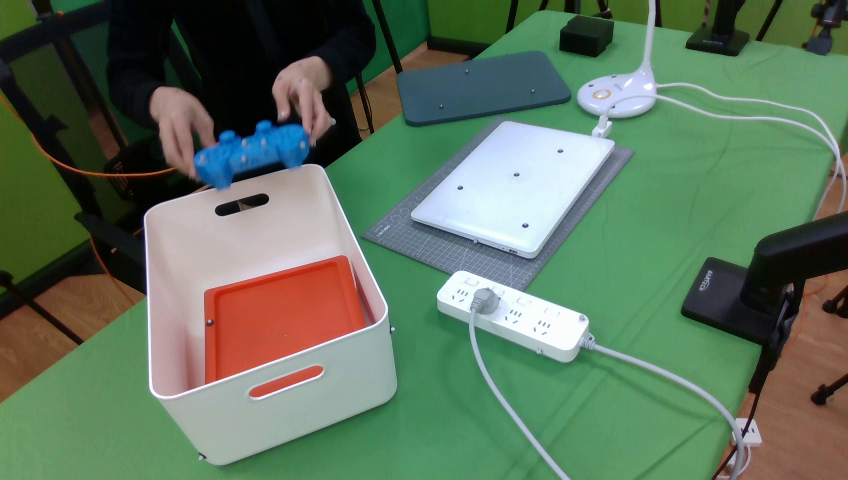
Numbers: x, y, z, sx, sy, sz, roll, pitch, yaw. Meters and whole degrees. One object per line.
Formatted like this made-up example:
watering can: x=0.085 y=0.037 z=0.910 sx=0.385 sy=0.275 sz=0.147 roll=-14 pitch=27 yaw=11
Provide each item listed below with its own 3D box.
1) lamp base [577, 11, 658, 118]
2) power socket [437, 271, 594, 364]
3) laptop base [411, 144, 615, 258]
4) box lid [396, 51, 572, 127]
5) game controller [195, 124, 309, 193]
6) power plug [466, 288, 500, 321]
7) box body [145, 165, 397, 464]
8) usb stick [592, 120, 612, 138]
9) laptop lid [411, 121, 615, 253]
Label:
lamp base: x=0.406 y=-0.363 z=1.222 sx=0.180 sy=0.181 sz=0.159 roll=-20 pitch=42 yaw=-18
power socket: x=0.118 y=0.102 z=0.830 sx=0.225 sy=0.033 sz=0.072 roll=20 pitch=48 yaw=28
laptop base: x=0.167 y=-0.102 z=1.074 sx=0.234 sy=0.023 sz=0.355 roll=16 pitch=45 yaw=30
box lid: x=0.128 y=-0.350 z=1.380 sx=0.372 sy=0.015 sz=0.261 roll=-10 pitch=41 yaw=-2
game controller: x=-0.228 y=-0.117 z=0.801 sx=0.155 sy=0.052 sz=0.096 roll=-19 pitch=39 yaw=-10
power plug: x=0.072 y=0.093 z=0.813 sx=0.035 sy=0.053 sz=0.073 roll=30 pitch=54 yaw=35
box body: x=-0.205 y=0.080 z=0.802 sx=0.255 sy=0.161 sz=0.361 roll=-18 pitch=41 yaw=-13
usb stick: x=0.335 y=-0.203 z=1.149 sx=0.021 sy=0.027 sz=0.059 roll=25 pitch=53 yaw=26
laptop lid: x=0.164 y=-0.112 z=1.068 sx=0.240 sy=0.013 sz=0.357 roll=19 pitch=46 yaw=31
